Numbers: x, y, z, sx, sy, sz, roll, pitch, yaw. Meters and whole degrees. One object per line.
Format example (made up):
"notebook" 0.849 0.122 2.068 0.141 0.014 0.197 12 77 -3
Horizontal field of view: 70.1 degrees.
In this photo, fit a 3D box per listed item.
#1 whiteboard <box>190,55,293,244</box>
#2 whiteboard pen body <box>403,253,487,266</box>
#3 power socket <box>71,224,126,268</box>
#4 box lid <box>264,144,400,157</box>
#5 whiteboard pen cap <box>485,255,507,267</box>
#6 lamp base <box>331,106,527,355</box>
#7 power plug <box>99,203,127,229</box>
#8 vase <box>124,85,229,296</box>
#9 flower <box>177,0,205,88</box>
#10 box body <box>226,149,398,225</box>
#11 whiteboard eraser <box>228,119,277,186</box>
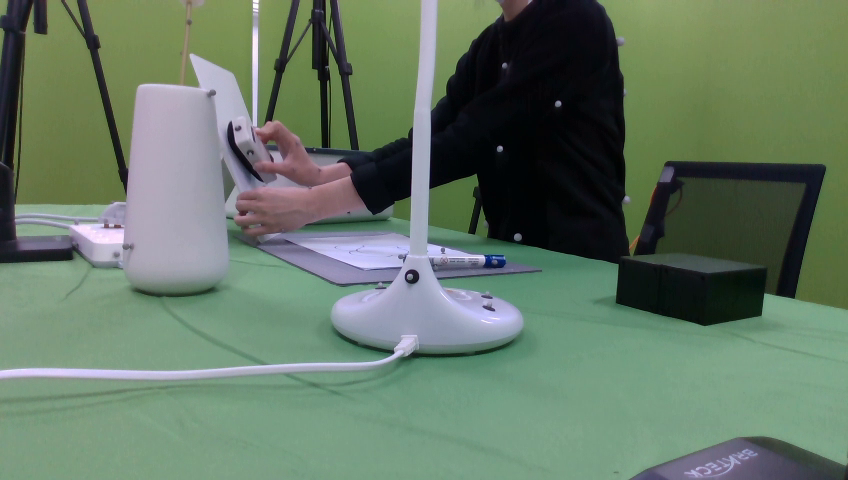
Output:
"whiteboard" -0.363 -0.129 1.028 0.144 0.305 0.217 -18 7 3
"whiteboard pen body" 0.039 0.026 0.785 0.141 0.017 0.017 2 7 -24
"power socket" -0.409 0.004 0.793 0.072 0.032 0.225 -2 8 -37
"box lid" -0.263 -0.203 1.369 0.262 0.015 0.373 9 10 39
"whiteboard pen cap" 0.093 0.028 0.809 0.033 0.018 0.018 0 8 -24
"lamp base" 0.006 -0.012 0.478 0.161 0.180 0.179 2 10 2
"power plug" -0.415 -0.026 0.848 0.073 0.052 0.035 6 5 -28
"vase" -0.244 -0.047 0.598 0.098 0.200 0.098 3 8 0
"flower" -0.243 -0.131 0.609 0.044 0.361 0.038 -5 -12 11
"box body" -0.265 -0.129 1.380 0.253 0.160 0.366 8 9 39
"whiteboard eraser" -0.277 -0.139 0.978 0.042 0.055 0.113 -23 -31 1
